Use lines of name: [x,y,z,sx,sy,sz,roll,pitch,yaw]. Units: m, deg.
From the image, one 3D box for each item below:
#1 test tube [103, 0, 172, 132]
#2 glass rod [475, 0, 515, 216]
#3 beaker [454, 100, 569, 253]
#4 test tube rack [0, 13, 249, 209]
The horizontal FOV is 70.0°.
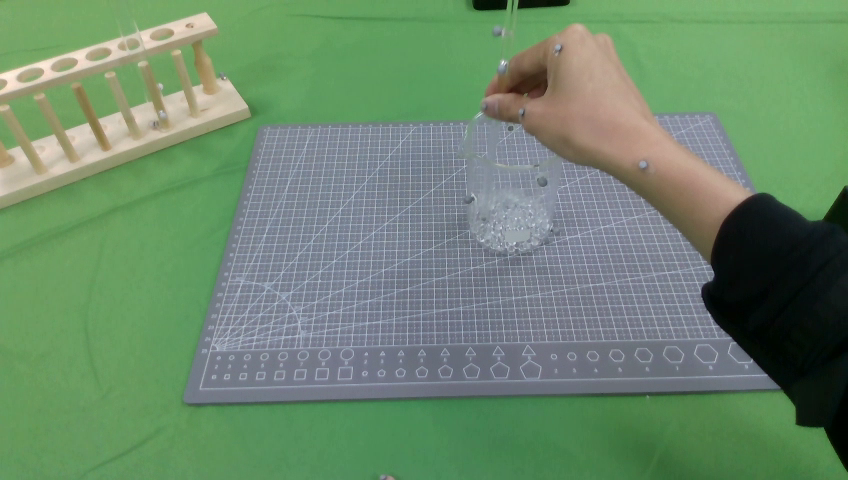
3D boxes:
test tube: [-0.252,-0.160,0.532,0.017,0.151,0.017,0,46,1]
glass rod: [0.047,-0.084,0.429,0.008,0.201,0.008,1,52,-1]
beaker: [0.064,-0.044,0.468,0.084,0.101,0.073,-15,50,-10]
test tube rack: [-0.298,-0.123,0.561,0.242,0.086,0.066,-26,53,-19]
